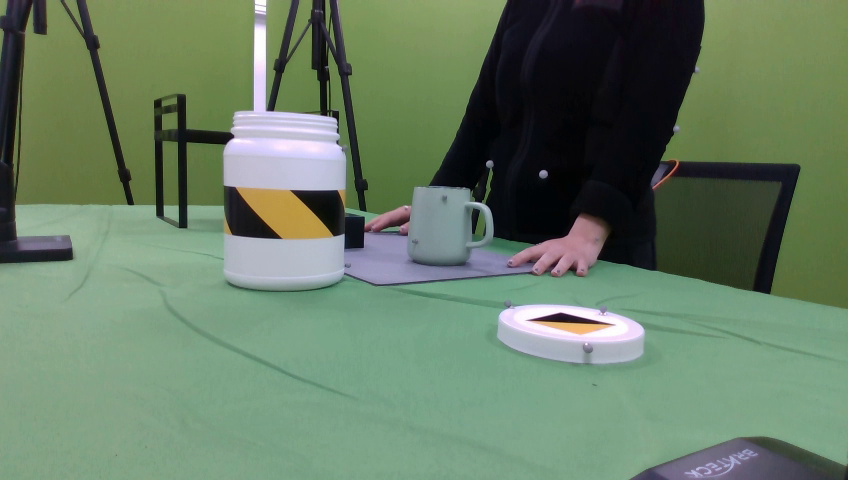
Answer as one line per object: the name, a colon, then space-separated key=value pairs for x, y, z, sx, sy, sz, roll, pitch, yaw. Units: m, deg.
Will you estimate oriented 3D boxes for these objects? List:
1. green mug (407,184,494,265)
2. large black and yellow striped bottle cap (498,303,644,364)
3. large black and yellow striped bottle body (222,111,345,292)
green mug: x=0.038 y=-0.021 z=0.828 sx=0.125 sy=0.105 sz=0.093 roll=6 pitch=8 yaw=29
large black and yellow striped bottle cap: x=0.117 y=0.072 z=0.487 sx=0.115 sy=0.019 sz=0.115 roll=1 pitch=8 yaw=0
large black and yellow striped bottle body: x=-0.153 y=-0.045 z=0.667 sx=0.131 sy=0.184 sz=0.130 roll=2 pitch=8 yaw=0
